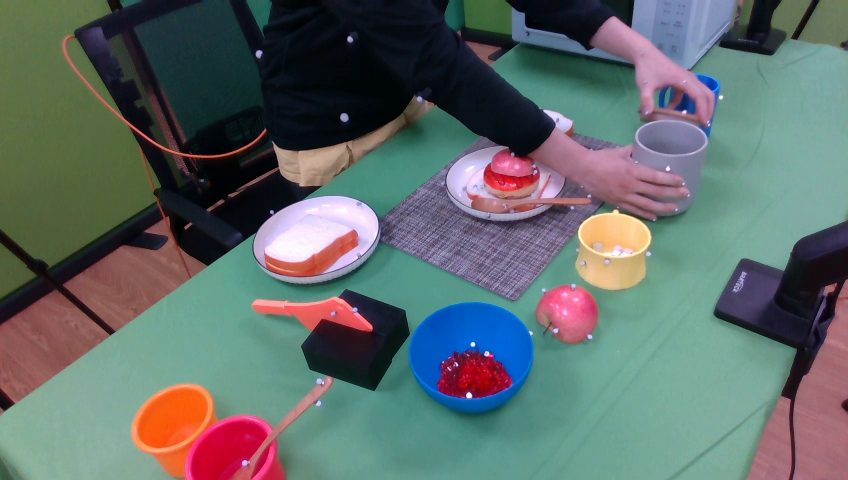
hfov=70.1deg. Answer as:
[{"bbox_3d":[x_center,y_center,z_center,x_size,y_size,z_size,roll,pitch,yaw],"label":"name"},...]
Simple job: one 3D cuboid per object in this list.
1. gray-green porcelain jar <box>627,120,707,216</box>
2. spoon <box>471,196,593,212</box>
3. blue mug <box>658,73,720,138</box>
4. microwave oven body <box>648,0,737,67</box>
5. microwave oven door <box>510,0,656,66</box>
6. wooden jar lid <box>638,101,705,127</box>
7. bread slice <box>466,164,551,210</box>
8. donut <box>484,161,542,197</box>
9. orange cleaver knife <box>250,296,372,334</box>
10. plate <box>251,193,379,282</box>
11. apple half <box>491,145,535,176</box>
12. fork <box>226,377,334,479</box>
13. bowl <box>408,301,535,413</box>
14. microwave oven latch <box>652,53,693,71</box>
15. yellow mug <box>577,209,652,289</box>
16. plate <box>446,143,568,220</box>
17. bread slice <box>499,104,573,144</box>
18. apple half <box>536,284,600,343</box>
[{"bbox_3d":[0.383,-0.111,0.965,0.106,0.127,0.105,-4,41,4],"label":"gray-green porcelain jar"},{"bbox_3d":[0.172,-0.060,0.975,0.193,0.022,0.041,-3,42,18],"label":"spoon"},{"bbox_3d":[0.483,-0.250,1.127,0.082,0.106,0.115,-25,44,-19],"label":"blue mug"},{"bbox_3d":[0.475,-0.602,1.411,0.438,0.261,0.327,23,50,32],"label":"microwave oven body"},{"bbox_3d":[0.350,-0.539,1.348,0.353,0.245,0.039,24,49,31],"label":"microwave oven door"},{"bbox_3d":[0.409,-0.204,1.007,0.108,0.020,0.108,19,4,-1],"label":"wooden jar lid"},{"bbox_3d":[0.141,-0.092,1.042,0.133,0.018,0.107,11,43,18],"label":"bread slice"},{"bbox_3d":[0.149,-0.109,1.016,0.099,0.048,0.098,-4,40,4],"label":"donut"},{"bbox_3d":[-0.158,0.103,0.828,0.210,0.078,0.012,-4,43,39],"label":"orange cleaver knife"},{"bbox_3d":[-0.174,-0.001,0.984,0.209,0.038,0.208,-4,40,4],"label":"plate"},{"bbox_3d":[0.147,-0.138,0.994,0.081,0.033,0.081,1,37,0],"label":"apple half"},{"bbox_3d":[-0.163,0.216,0.647,0.207,0.019,0.028,-49,41,16],"label":"fork"},{"bbox_3d":[0.060,0.156,0.739,0.151,0.077,0.150,-4,40,4],"label":"bowl"},{"bbox_3d":[0.533,-0.387,1.301,0.078,0.029,0.030,30,53,36],"label":"microwave oven latch"},{"bbox_3d":[0.279,0.004,0.893,0.099,0.064,0.130,5,42,15],"label":"yellow mug"},{"bbox_3d":[0.143,-0.097,1.045,0.207,0.039,0.206,-4,40,4],"label":"plate"},{"bbox_3d":[0.231,-0.232,1.205,0.105,0.019,0.130,-36,47,-29],"label":"bread slice"},{"bbox_3d":[0.196,0.090,0.815,0.075,0.053,0.080,-22,42,-20],"label":"apple half"}]
